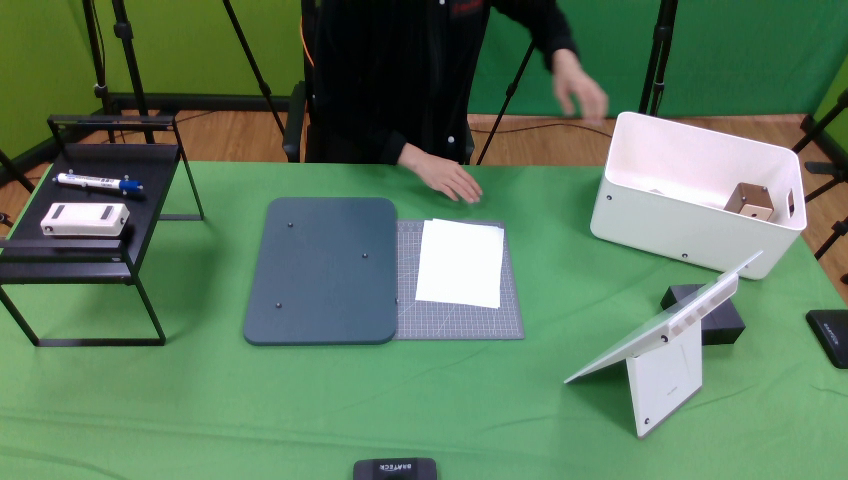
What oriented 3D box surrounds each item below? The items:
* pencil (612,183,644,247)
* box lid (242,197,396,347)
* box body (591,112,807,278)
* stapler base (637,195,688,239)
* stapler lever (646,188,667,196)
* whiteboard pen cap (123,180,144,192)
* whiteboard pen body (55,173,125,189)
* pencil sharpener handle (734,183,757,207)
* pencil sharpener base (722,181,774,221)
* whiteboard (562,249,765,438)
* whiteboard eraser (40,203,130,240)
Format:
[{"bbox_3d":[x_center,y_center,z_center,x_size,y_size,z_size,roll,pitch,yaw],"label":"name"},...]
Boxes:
[{"bbox_3d":[0.430,-0.058,1.285,0.012,0.012,0.192,-2,46,-6],"label":"pencil"},{"bbox_3d":[-0.186,0.046,1.147,0.263,0.015,0.369,0,46,-3],"label":"box lid"},{"bbox_3d":[0.540,-0.092,1.230,0.363,0.161,0.253,16,47,11],"label":"box body"},{"bbox_3d":[0.507,-0.055,1.280,0.041,0.024,0.129,-14,47,-19],"label":"stapler base"},{"bbox_3d":[0.507,-0.075,1.263,0.027,0.040,0.117,-14,46,-19],"label":"stapler lever"},{"bbox_3d":[-0.479,-0.089,0.993,0.033,0.018,0.018,7,46,14],"label":"whiteboard pen cap"},{"bbox_3d":[-0.539,-0.095,0.998,0.141,0.017,0.017,6,46,6],"label":"whiteboard pen body"},{"bbox_3d":[0.663,-0.100,1.259,0.036,0.068,0.030,11,46,6],"label":"pencil sharpener handle"},{"bbox_3d":[0.651,-0.056,1.232,0.061,0.107,0.076,11,46,6],"label":"pencil sharpener base"},{"bbox_3d":[0.386,0.175,0.905,0.217,0.306,0.143,-26,72,-26],"label":"whiteboard"},{"bbox_3d":[-0.513,-0.028,0.922,0.113,0.042,0.055,1,48,-3],"label":"whiteboard eraser"}]
